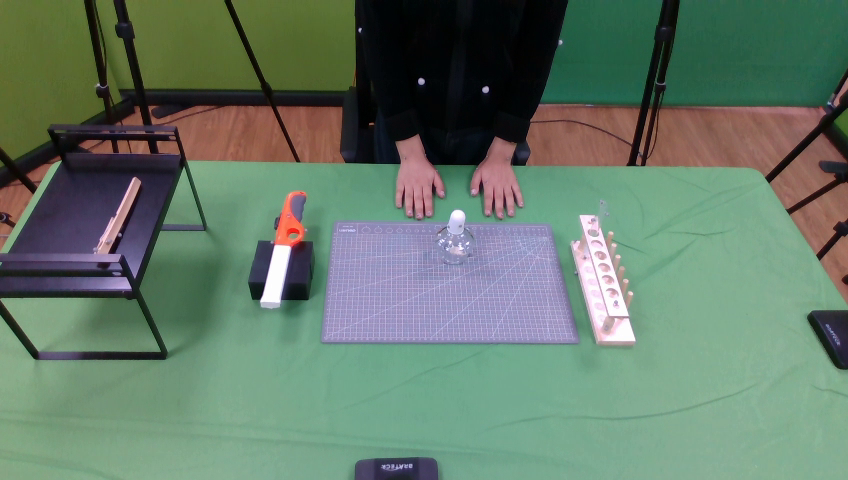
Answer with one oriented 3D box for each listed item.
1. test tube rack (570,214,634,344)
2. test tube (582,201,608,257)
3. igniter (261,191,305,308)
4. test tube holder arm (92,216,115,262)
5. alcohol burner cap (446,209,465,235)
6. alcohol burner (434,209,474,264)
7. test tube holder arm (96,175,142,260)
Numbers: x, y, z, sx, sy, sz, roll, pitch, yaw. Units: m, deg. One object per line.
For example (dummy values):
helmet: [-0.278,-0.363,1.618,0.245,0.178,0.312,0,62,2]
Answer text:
test tube rack: [0.333,0.067,1.116,0.067,0.085,0.241,1,46,-3]
test tube: [0.316,-0.017,1.127,0.017,0.151,0.017,1,51,-1]
igniter: [-0.255,0.007,1.104,0.057,0.025,0.275,5,47,-4]
test tube holder arm: [-0.479,-0.004,0.917,0.010,0.015,0.087,-19,43,20]
alcohol burner cap: [0.060,-0.036,1.120,0.034,0.048,0.033,4,51,-4]
alcohol burner: [0.058,-0.012,1.147,0.078,0.119,0.077,3,44,-2]
test tube holder arm: [-0.474,-0.039,0.946,0.013,0.015,0.177,-19,43,20]
